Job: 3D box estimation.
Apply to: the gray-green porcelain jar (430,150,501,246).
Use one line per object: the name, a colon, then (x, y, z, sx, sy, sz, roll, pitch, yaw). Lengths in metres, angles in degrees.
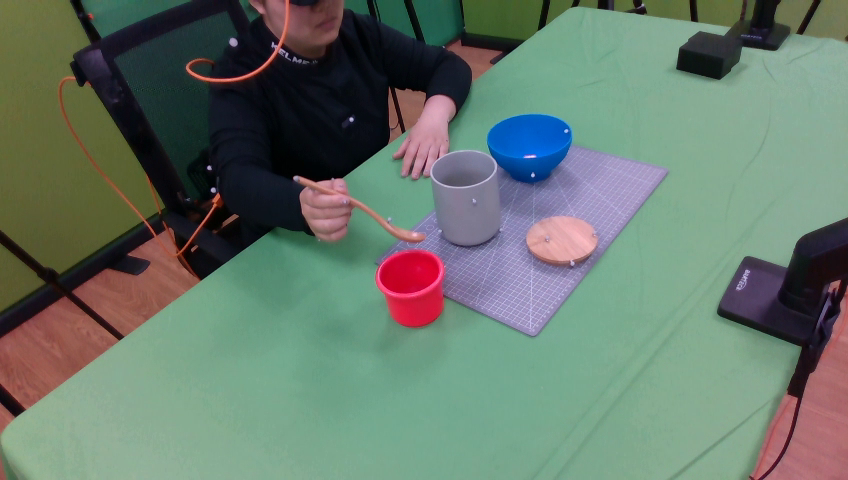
gray-green porcelain jar: (0.069, -0.062, 0.959, 0.106, 0.127, 0.105, -5, 40, 5)

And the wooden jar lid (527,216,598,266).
wooden jar lid: (0.214, 0.003, 0.937, 0.108, 0.021, 0.108, -4, 40, 4)

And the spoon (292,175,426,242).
spoon: (-0.083, -0.042, 0.799, 0.195, 0.021, 0.041, 30, 11, -17)

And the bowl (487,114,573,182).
bowl: (0.190, -0.156, 1.085, 0.151, 0.077, 0.150, -5, 40, 5)
